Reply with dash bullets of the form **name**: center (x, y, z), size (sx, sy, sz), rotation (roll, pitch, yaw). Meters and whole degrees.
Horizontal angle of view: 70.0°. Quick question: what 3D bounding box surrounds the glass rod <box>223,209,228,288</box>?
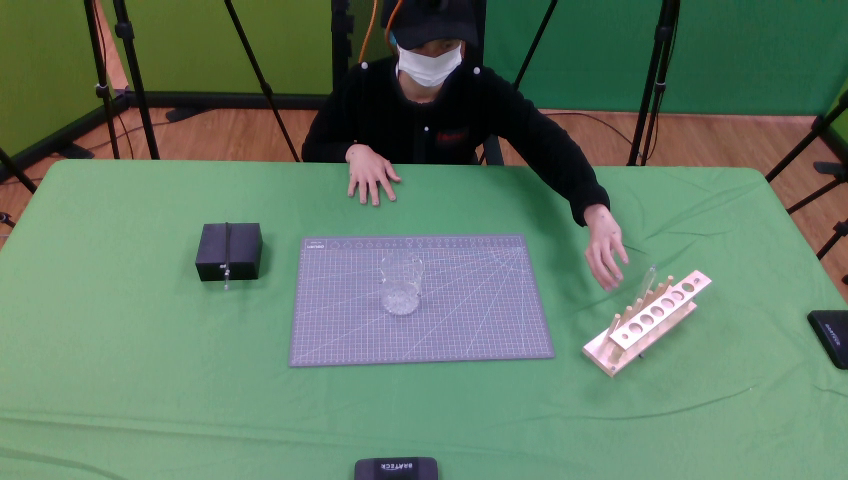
- **glass rod**: center (-0.360, 0.011, 1.098), size (0.008, 0.008, 0.198), rotation (-7, 47, -12)

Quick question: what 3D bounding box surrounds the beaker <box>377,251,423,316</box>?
- **beaker**: center (-0.040, 0.081, 1.060), size (0.074, 0.101, 0.083), rotation (-32, 57, -30)

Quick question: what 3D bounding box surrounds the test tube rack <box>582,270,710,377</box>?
- **test tube rack**: center (0.389, 0.132, 1.057), size (0.242, 0.085, 0.066), rotation (-28, 54, -28)

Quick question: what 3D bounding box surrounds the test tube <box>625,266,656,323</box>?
- **test tube**: center (0.366, 0.096, 1.027), size (0.017, 0.151, 0.017), rotation (1, 47, 0)
